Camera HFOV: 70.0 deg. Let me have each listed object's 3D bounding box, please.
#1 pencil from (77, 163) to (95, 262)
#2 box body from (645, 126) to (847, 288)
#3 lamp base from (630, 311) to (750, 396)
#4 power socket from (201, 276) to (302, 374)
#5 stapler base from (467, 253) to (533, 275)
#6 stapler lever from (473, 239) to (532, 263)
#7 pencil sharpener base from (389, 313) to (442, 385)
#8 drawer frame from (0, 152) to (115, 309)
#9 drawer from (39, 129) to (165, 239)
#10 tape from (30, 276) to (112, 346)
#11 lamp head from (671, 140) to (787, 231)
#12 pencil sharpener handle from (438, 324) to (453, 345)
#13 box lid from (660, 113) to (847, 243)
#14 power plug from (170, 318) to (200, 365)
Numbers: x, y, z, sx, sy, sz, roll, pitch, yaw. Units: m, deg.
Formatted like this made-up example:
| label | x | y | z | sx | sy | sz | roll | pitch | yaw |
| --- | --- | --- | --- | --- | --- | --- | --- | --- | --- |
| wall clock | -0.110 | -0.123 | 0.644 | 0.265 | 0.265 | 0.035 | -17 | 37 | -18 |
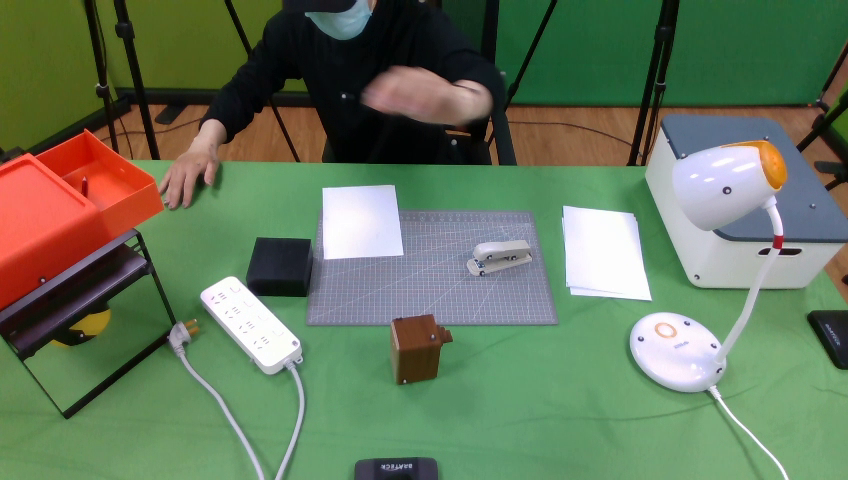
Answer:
| label | x | y | z | sx | sy | sz | roll | pitch | yaw |
| --- | --- | --- | --- | --- | --- | --- | --- | --- | --- |
| pencil | -0.528 | -0.047 | 0.942 | 0.012 | 0.012 | 0.193 | -15 | 61 | -18 |
| box body | 0.625 | -0.080 | 1.222 | 0.254 | 0.161 | 0.361 | 0 | 46 | -3 |
| lamp base | 0.447 | 0.143 | 0.983 | 0.161 | 0.181 | 0.178 | -24 | 55 | -24 |
| power socket | -0.297 | 0.141 | 1.034 | 0.072 | 0.033 | 0.225 | -34 | 58 | -30 |
| stapler base | 0.148 | 0.034 | 1.171 | 0.131 | 0.024 | 0.041 | -12 | 50 | -18 |
| stapler lever | 0.150 | 0.017 | 1.155 | 0.118 | 0.040 | 0.026 | -13 | 50 | -17 |
| pencil sharpener base | -0.013 | 0.175 | 0.971 | 0.077 | 0.107 | 0.061 | -8 | 47 | -12 |
| drawer frame | -0.605 | -0.011 | 0.874 | 0.201 | 0.083 | 0.213 | 31 | 52 | 23 |
| drawer | -0.548 | -0.061 | 0.929 | 0.193 | 0.073 | 0.211 | 32 | 53 | 23 |
| tape | -0.594 | 0.118 | 1.021 | 0.117 | 0.053 | 0.116 | 3 | 44 | -2 |
| lamp head | 0.415 | -0.078 | 0.811 | 0.113 | 0.123 | 0.112 | 12 | 70 | -37 |
| pencil sharpener handle | 0.036 | 0.155 | 0.976 | 0.031 | 0.068 | 0.036 | -8 | 69 | -11 |
| box lid | 0.628 | -0.132 | 1.170 | 0.263 | 0.015 | 0.369 | 1 | 46 | -3 |
| power plug | -0.392 | 0.167 | 1.015 | 0.052 | 0.035 | 0.072 | -30 | 92 | -24 |
